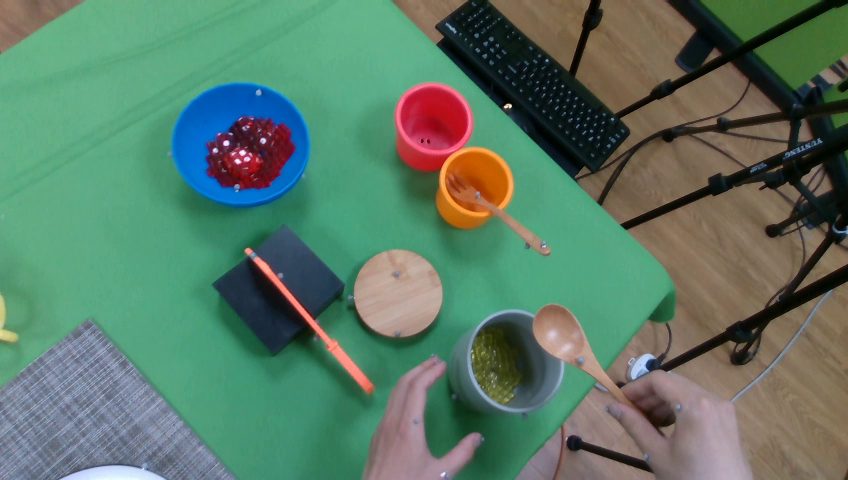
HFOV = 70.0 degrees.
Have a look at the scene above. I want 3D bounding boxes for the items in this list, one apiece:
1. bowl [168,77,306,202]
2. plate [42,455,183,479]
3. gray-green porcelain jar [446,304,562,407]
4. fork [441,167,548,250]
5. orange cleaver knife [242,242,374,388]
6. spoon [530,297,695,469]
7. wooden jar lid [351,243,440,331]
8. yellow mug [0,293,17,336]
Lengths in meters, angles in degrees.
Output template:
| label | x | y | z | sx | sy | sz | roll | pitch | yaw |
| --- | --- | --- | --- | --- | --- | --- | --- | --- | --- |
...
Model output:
| label | x | y | z | sx | sy | sz | roll | pitch | yaw |
| --- | --- | --- | --- | --- | --- | --- | --- | --- | --- |
| bowl | -0.215 | -0.107 | 0.719 | 0.152 | 0.077 | 0.150 | 3 | 75 | -9 |
| plate | -0.317 | 0.322 | 0.601 | 0.210 | 0.038 | 0.208 | 3 | 75 | -10 |
| gray-green porcelain jar | 0.083 | 0.134 | 0.681 | 0.106 | 0.127 | 0.105 | 3 | 74 | -9 |
| fork | 0.079 | -0.040 | 0.716 | 0.028 | 0.019 | 0.205 | -27 | 37 | -16 |
| orange cleaver knife | -0.130 | 0.085 | 0.680 | 0.012 | 0.076 | 0.213 | -42 | 109 | -15 |
| spoon | 0.165 | 0.127 | 0.529 | 0.041 | 0.022 | 0.193 | -42 | 81 | -8 |
| wooden jar lid | -0.035 | 0.058 | 0.737 | 0.108 | 0.021 | 0.108 | 2 | 76 | -9 |
| yellow mug | -0.491 | 0.076 | 0.627 | 0.131 | 0.064 | 0.099 | 18 | 72 | -6 |
